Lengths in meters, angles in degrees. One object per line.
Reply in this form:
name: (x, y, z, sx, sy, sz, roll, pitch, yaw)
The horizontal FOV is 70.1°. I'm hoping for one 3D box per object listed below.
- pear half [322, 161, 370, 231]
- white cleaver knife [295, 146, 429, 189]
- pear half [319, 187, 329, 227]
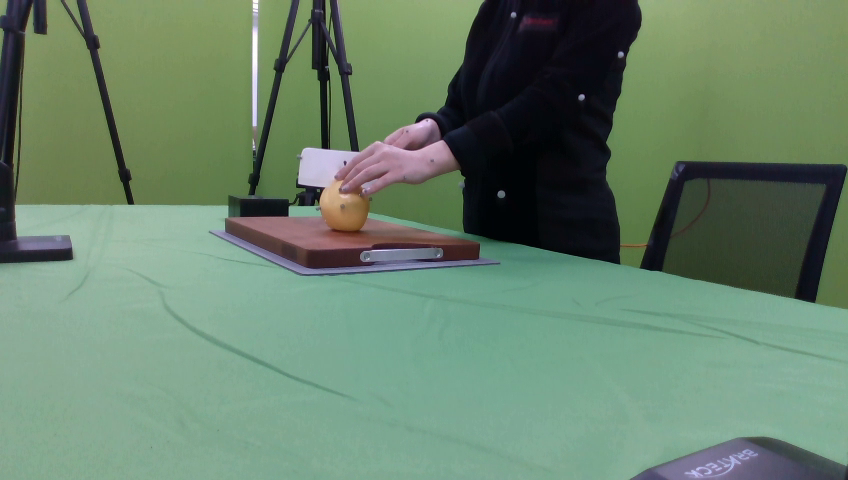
pear half: (-0.114, -0.067, 0.935, 0.055, 0.110, 0.077, 6, 13, 38)
white cleaver knife: (-0.093, -0.117, 0.986, 0.021, 0.066, 0.288, 15, 15, 41)
pear half: (-0.142, -0.061, 0.959, 0.031, 0.088, 0.071, 5, 13, 37)
